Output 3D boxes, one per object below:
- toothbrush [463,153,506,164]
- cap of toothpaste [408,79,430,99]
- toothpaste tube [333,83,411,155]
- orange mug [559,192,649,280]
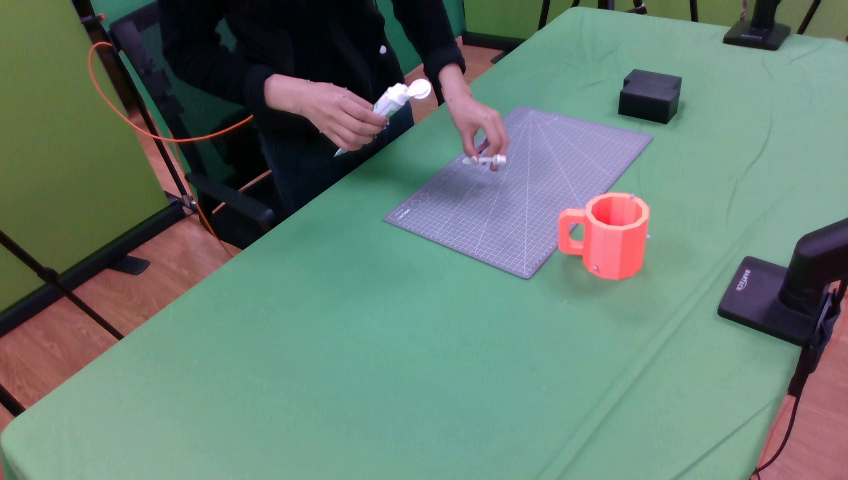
[{"bbox_3d":[0.100,-0.139,1.034,0.017,0.014,0.181,-6,7,-15],"label":"toothbrush"},{"bbox_3d":[-0.009,-0.239,0.951,0.037,0.011,0.037,-3,71,9],"label":"cap of toothpaste"},{"bbox_3d":[-0.083,-0.194,0.972,0.164,0.034,0.055,-38,-2,27],"label":"toothpaste tube"},{"bbox_3d":[0.261,-0.008,0.884,0.126,0.101,0.083,9,43,14],"label":"orange mug"}]
